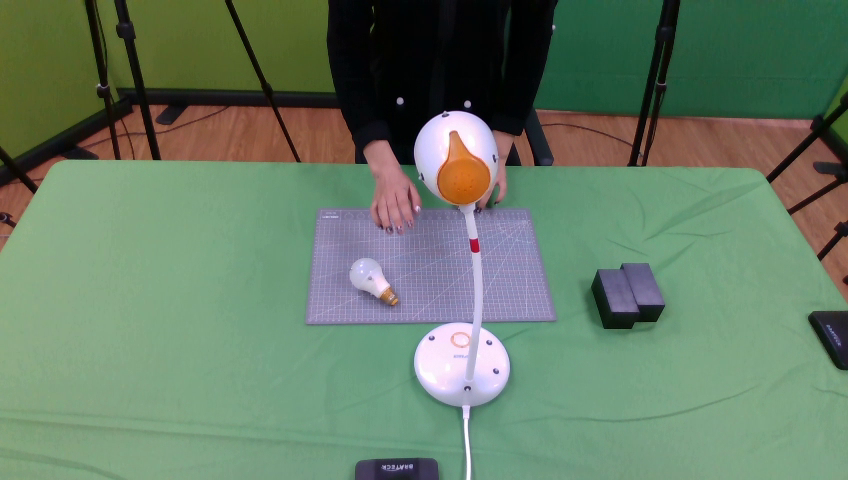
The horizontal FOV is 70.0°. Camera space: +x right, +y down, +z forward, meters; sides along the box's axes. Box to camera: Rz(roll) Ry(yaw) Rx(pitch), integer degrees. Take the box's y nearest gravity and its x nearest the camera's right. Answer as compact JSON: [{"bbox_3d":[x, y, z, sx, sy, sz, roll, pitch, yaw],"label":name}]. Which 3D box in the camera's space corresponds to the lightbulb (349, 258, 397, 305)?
[{"bbox_3d":[-0.090,0.078,1.095,0.107,0.060,0.059,43,56,12],"label":"lightbulb"}]

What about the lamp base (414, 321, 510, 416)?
[{"bbox_3d":[0.069,0.159,0.942,0.161,0.181,0.178,-4,49,-8],"label":"lamp base"}]

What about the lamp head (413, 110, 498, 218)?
[{"bbox_3d":[0.044,-0.090,0.758,0.112,0.113,0.122,-1,32,-4],"label":"lamp head"}]
